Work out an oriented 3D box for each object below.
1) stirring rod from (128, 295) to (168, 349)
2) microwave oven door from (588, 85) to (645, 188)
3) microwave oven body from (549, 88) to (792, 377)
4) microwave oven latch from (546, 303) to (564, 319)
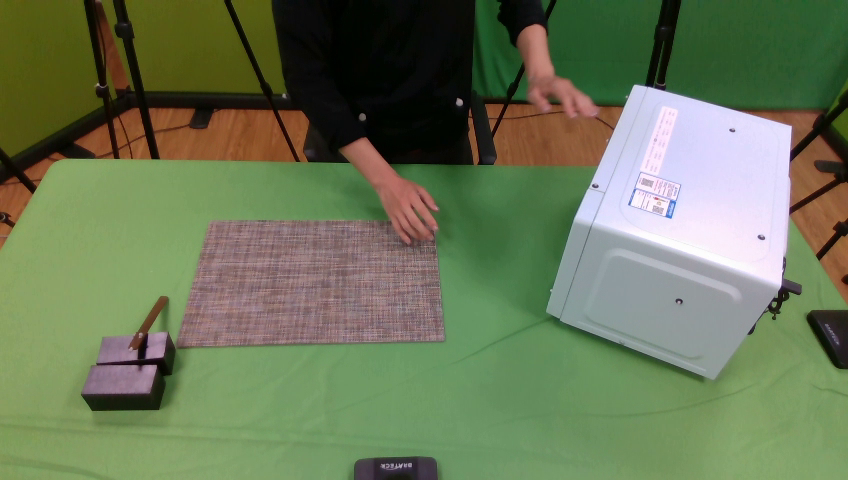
[{"bbox_3d":[-0.451,0.131,0.996,0.014,0.006,0.175,9,21,-10],"label":"stirring rod"},{"bbox_3d":[0.342,-0.107,1.149,0.039,0.245,0.354,20,48,15],"label":"microwave oven door"},{"bbox_3d":[0.456,-0.028,1.088,0.325,0.261,0.440,20,47,16],"label":"microwave oven body"},{"bbox_3d":[0.242,0.102,1.081,0.030,0.029,0.079,21,48,17],"label":"microwave oven latch"}]
